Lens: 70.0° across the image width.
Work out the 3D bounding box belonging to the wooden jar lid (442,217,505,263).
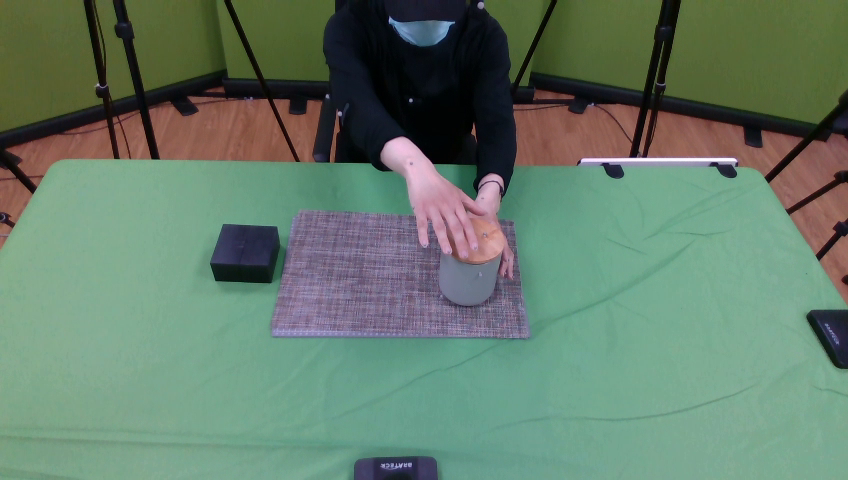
[{"bbox_3d":[0.084,0.003,1.033,0.108,0.021,0.107,1,44,-1],"label":"wooden jar lid"}]

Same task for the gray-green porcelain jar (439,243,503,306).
[{"bbox_3d":[0.081,0.046,1.078,0.106,0.127,0.105,2,46,-2],"label":"gray-green porcelain jar"}]
